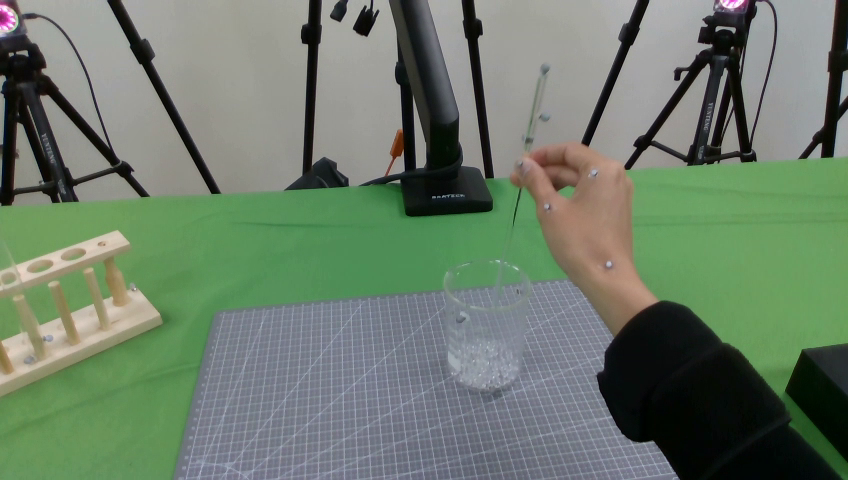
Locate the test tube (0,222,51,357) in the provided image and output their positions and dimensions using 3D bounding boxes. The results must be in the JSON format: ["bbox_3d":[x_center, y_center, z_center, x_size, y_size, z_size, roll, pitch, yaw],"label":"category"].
[{"bbox_3d":[-0.355,0.042,0.526,0.017,0.151,0.017,1,32,0],"label":"test tube"}]

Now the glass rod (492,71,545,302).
[{"bbox_3d":[0.073,-0.033,0.477,0.008,0.201,0.008,5,30,-3],"label":"glass rod"}]

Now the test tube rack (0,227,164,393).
[{"bbox_3d":[-0.380,0.078,0.554,0.243,0.086,0.066,-26,41,-34],"label":"test tube rack"}]

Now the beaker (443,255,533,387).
[{"bbox_3d":[0.051,0.073,0.539,0.083,0.101,0.074,26,41,36],"label":"beaker"}]
